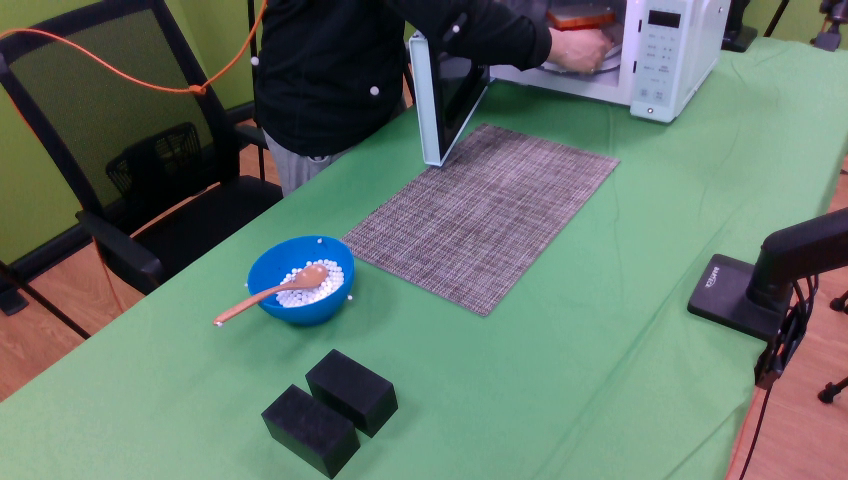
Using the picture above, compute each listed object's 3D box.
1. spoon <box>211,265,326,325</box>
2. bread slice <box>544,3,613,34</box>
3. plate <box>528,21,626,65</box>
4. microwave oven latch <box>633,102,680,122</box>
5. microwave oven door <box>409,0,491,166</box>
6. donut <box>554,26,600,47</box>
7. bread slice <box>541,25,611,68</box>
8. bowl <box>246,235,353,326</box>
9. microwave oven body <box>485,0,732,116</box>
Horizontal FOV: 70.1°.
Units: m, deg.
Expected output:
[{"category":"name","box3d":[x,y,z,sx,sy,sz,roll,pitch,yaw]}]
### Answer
[{"category":"spoon","box3d":[-0.207,0.072,0.822,0.041,0.021,0.195,27,29,27]},{"category":"bread slice","box3d":[0.329,-0.472,1.278,0.131,0.019,0.104,-11,39,-1]},{"category":"plate","box3d":[0.332,-0.431,1.318,0.207,0.039,0.206,-4,41,4]},{"category":"microwave oven latch","box3d":[0.443,-0.249,1.157,0.078,0.029,0.030,21,49,30]},{"category":"microwave oven door","box3d":[0.061,-0.342,1.165,0.039,0.245,0.355,9,43,19]},{"category":"donut","box3d":[0.327,-0.451,1.295,0.099,0.048,0.098,-6,46,7]},{"category":"bread slice","box3d":[0.335,-0.428,1.314,0.134,0.018,0.106,-24,51,-2]},{"category":"bowl","box3d":[-0.170,0.070,0.868,0.151,0.077,0.150,-4,41,4]},{"category":"microwave oven body","box3d":[0.377,-0.463,1.267,0.438,0.261,0.327,21,49,30]}]
